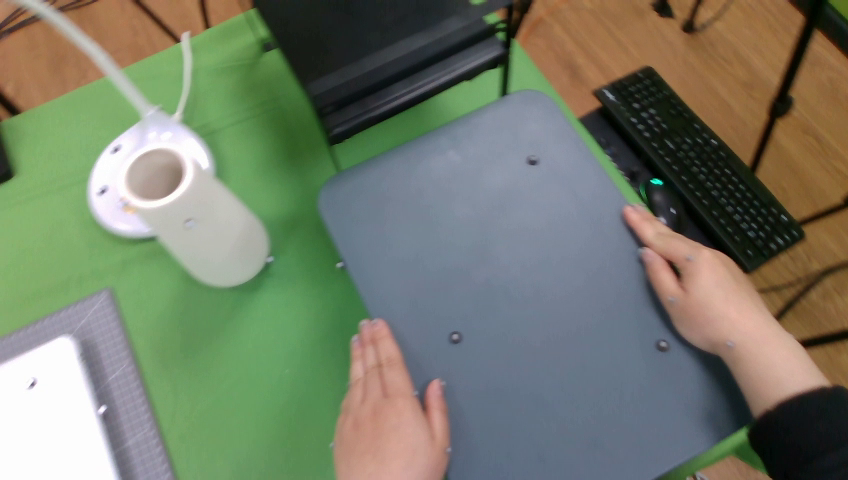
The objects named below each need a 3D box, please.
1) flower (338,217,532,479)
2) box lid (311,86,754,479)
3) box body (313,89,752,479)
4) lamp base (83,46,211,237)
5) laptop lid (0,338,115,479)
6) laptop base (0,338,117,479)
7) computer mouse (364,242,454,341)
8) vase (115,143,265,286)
[{"bbox_3d":[0.021,0.124,0.630,0.360,0.038,0.044,54,36,11],"label":"flower"},{"bbox_3d":[0.079,0.037,0.537,0.263,0.015,0.368,-26,68,-8],"label":"box lid"},{"bbox_3d":[0.085,0.068,0.604,0.254,0.161,0.361,-27,68,-7],"label":"box body"},{"bbox_3d":[-0.352,-0.119,0.698,0.160,0.181,0.178,4,65,5],"label":"lamp base"},{"bbox_3d":[-0.500,0.279,0.615,0.357,0.013,0.240,-26,71,-7],"label":"laptop lid"},{"bbox_3d":[-0.501,0.282,0.627,0.354,0.023,0.234,-28,72,-8],"label":"laptop base"},{"bbox_3d":[-0.019,0.054,0.676,0.063,0.041,0.116,-33,61,-6],"label":"computer mouse"},{"bbox_3d":[-0.242,-0.022,0.641,0.098,0.201,0.097,-2,67,5],"label":"vase"}]
